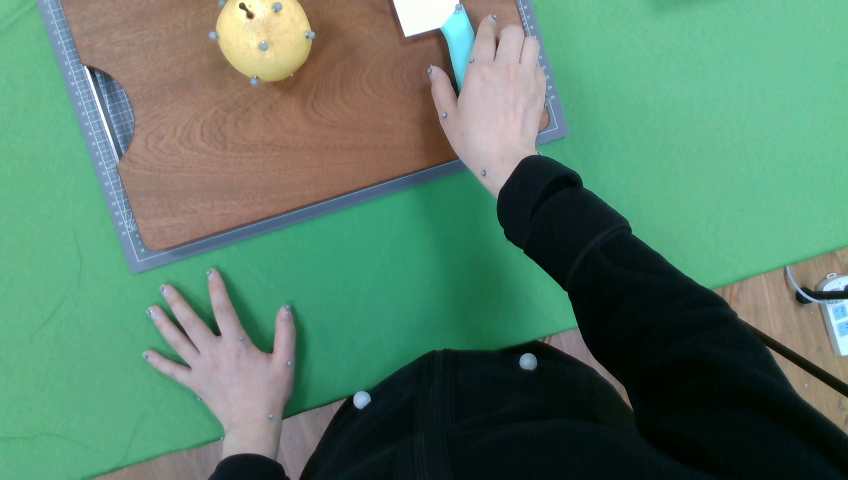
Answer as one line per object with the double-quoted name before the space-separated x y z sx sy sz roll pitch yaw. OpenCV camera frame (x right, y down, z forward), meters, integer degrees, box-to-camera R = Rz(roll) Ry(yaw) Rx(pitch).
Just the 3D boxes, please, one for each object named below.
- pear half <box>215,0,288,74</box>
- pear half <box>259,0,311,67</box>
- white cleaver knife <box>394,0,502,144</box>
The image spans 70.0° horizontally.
"pear half" -0.148 -0.180 0.504 0.056 0.110 0.076 -15 89 0
"pear half" -0.114 -0.187 0.515 0.031 0.088 0.070 -15 89 -1
"white cleaver knife" 0.005 -0.225 0.556 0.066 0.021 0.286 -18 89 7
